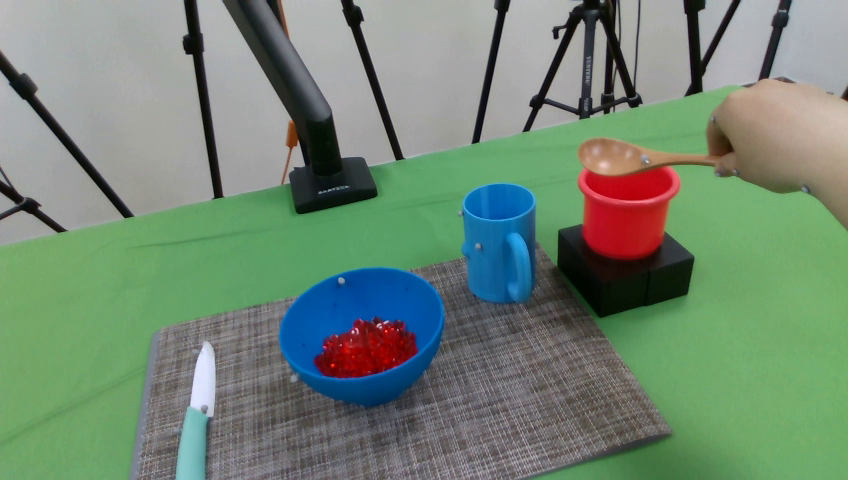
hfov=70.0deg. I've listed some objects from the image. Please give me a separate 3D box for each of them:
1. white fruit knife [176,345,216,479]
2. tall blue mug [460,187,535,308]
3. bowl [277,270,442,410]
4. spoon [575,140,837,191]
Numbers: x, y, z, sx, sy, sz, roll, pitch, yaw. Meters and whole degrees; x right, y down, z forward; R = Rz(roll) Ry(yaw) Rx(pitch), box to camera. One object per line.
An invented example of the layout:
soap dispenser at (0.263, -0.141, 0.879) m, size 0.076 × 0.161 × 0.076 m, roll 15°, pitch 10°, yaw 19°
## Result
white fruit knife at (-0.209, 0.166, 0.563) m, size 0.027 × 0.016 × 0.205 m, roll 14°, pitch 26°, yaw -23°
tall blue mug at (0.091, 0.013, 0.645) m, size 0.078 × 0.109 × 0.106 m, roll -30°, pitch 41°, yaw -31°
bowl at (-0.054, 0.105, 0.567) m, size 0.151 × 0.077 × 0.150 m, roll -5°, pitch 35°, yaw 4°
spoon at (0.217, -0.057, 0.485) m, size 0.192 × 0.022 × 0.041 m, roll 10°, pitch 57°, yaw 31°
